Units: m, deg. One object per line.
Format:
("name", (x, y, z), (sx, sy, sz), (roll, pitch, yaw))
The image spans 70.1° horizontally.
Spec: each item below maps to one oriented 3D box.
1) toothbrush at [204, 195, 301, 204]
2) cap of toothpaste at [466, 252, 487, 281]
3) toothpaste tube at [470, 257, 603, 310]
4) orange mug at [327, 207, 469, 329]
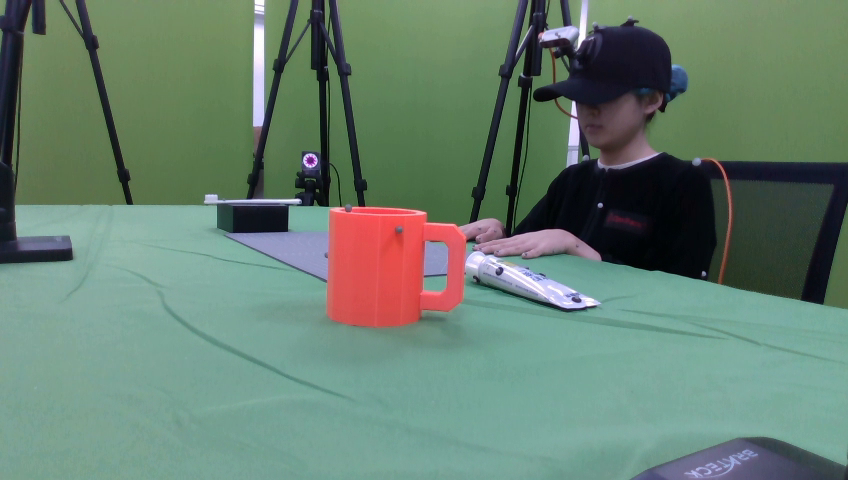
("toothbrush", (-0.314, -0.074, 1.120), (0.183, 0.016, 0.014), (-2, 4, -36))
("cap of toothpaste", (0.064, 0.033, 0.720), (0.037, 0.037, 0.011), (-3, 13, -39))
("toothpaste tube", (0.110, 0.049, 0.658), (0.055, 0.034, 0.164), (-8, 16, -37))
("orange mug", (-0.024, 0.021, 0.535), (0.126, 0.100, 0.083), (-1, 6, 8))
